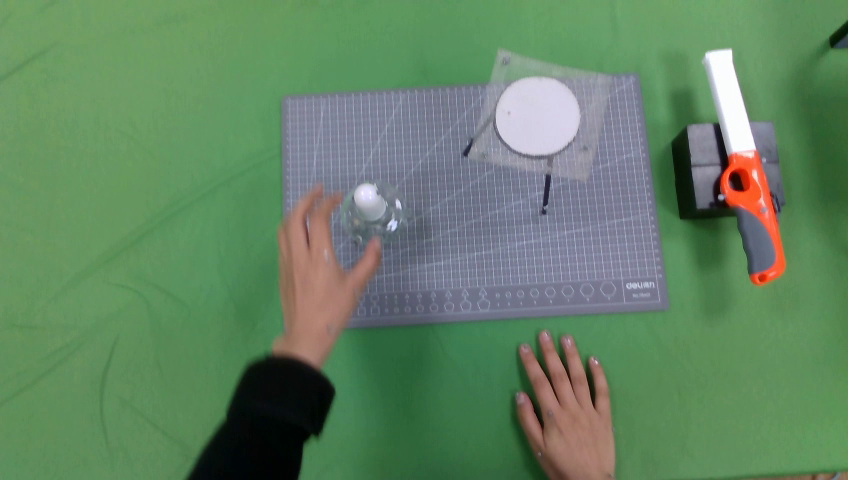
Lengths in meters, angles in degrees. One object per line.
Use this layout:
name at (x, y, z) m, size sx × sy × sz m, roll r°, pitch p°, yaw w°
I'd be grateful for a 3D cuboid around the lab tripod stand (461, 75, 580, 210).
lab tripod stand at (0.117, -0.118, 0.679) m, size 0.148 × 0.132 × 0.147 m, roll 0°, pitch 77°, yaw 2°

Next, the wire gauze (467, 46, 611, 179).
wire gauze at (0.118, -0.129, 0.612) m, size 0.121 × 0.011 × 0.124 m, roll 15°, pitch 79°, yaw 4°

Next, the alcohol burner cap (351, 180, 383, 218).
alcohol burner cap at (-0.062, -0.046, 0.642) m, size 0.034 × 0.048 × 0.033 m, roll 0°, pitch 71°, yaw 0°

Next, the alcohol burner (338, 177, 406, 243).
alcohol burner at (-0.060, -0.038, 0.677) m, size 0.078 × 0.119 × 0.077 m, roll 0°, pitch 80°, yaw 1°

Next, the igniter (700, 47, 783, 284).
igniter at (0.353, -0.088, 0.677) m, size 0.057 × 0.025 × 0.275 m, roll -7°, pitch 77°, yaw 2°
